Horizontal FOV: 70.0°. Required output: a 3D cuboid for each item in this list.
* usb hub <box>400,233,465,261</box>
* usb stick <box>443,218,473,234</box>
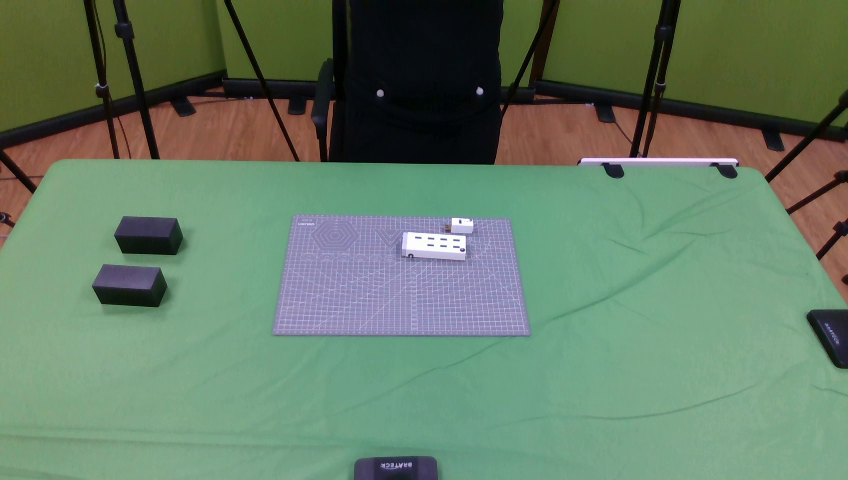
[{"bbox_3d":[0.018,0.013,1.180,0.125,0.025,0.049,4,46,0],"label":"usb hub"},{"bbox_3d":[0.068,-0.028,1.222,0.059,0.027,0.021,1,45,0],"label":"usb stick"}]
